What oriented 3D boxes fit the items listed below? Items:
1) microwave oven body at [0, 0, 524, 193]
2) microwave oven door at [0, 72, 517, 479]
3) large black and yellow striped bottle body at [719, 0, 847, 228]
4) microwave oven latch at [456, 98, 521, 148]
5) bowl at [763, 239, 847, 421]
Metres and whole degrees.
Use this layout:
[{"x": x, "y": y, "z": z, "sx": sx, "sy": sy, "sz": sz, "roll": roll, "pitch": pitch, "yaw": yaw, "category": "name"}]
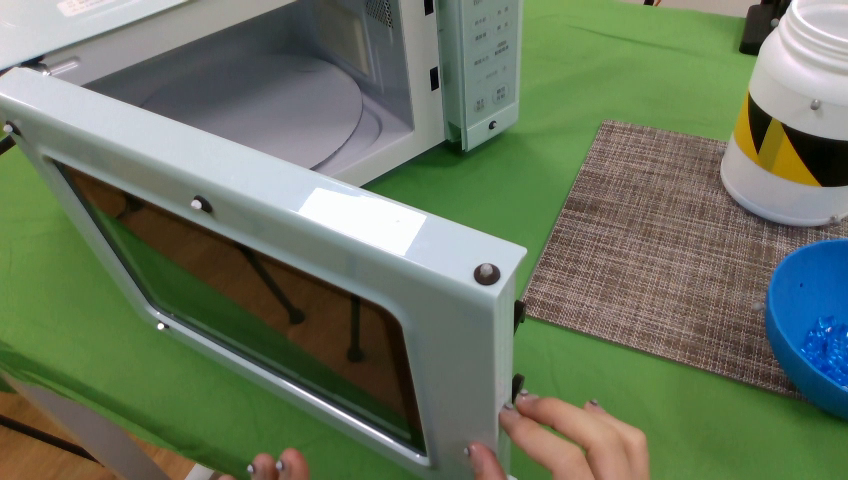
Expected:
[{"x": -0.166, "y": -0.193, "z": 0.624, "sx": 0.442, "sy": 0.263, "sz": 0.322, "roll": -32, "pitch": 52, "yaw": -21, "category": "microwave oven body"}, {"x": -0.103, "y": 0.038, "z": 0.391, "sx": 0.353, "sy": 0.246, "sz": 0.039, "roll": 21, "pitch": 52, "yaw": 24, "category": "microwave oven door"}, {"x": 0.357, "y": -0.116, "z": 0.543, "sx": 0.131, "sy": 0.186, "sz": 0.129, "roll": -3, "pitch": 47, "yaw": 4, "category": "large black and yellow striped bottle body"}, {"x": 0.073, "y": -0.134, "z": 0.675, "sx": 0.079, "sy": 0.030, "sz": 0.030, "roll": -30, "pitch": 51, "yaw": -20, "category": "microwave oven latch"}, {"x": 0.317, "y": 0.079, "z": 0.436, "sx": 0.151, "sy": 0.077, "sz": 0.150, "roll": -3, "pitch": 46, "yaw": 4, "category": "bowl"}]
